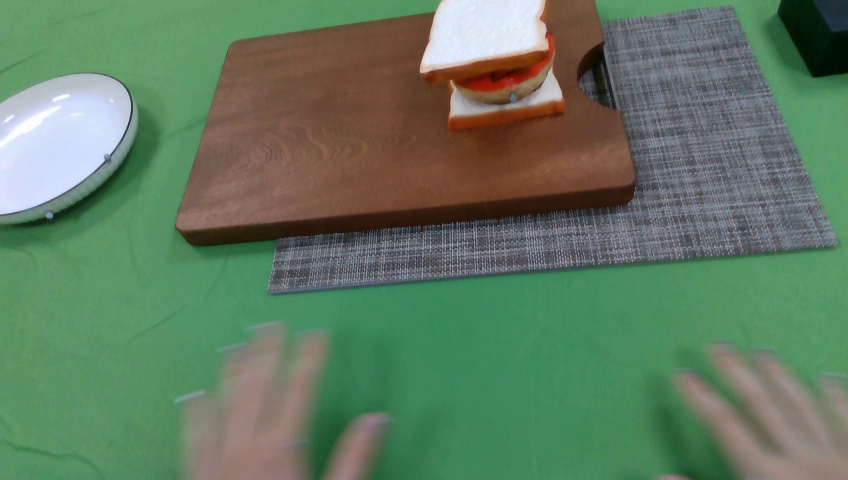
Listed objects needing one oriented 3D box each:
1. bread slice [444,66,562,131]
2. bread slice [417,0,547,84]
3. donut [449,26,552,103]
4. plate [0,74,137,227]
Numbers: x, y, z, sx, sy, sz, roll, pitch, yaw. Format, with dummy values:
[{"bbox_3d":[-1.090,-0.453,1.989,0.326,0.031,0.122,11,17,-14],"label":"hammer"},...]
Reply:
[{"bbox_3d":[0.067,-0.161,0.576,0.105,0.019,0.130,-8,56,5],"label":"bread slice"},{"bbox_3d":[0.052,-0.189,0.526,0.106,0.018,0.133,-7,51,18],"label":"bread slice"},{"bbox_3d":[0.064,-0.165,0.542,0.099,0.049,0.098,-6,55,10],"label":"donut"},{"bbox_3d":[-0.403,-0.095,0.649,0.209,0.038,0.207,-6,55,8],"label":"plate"}]
